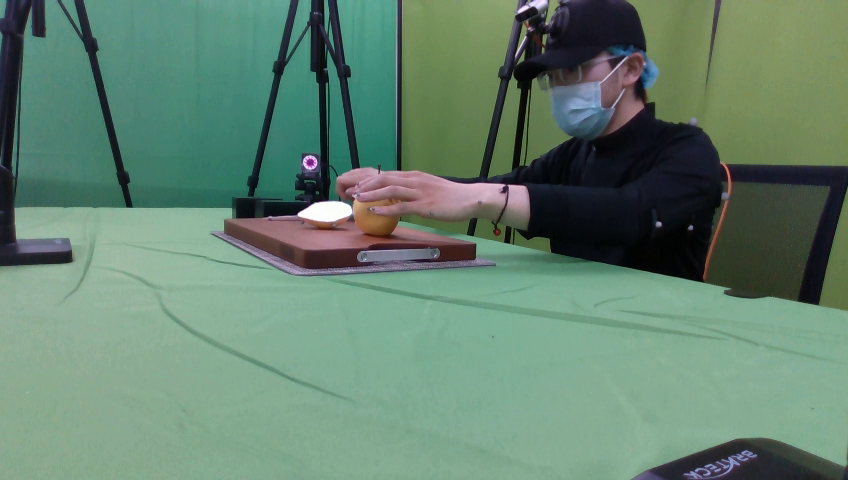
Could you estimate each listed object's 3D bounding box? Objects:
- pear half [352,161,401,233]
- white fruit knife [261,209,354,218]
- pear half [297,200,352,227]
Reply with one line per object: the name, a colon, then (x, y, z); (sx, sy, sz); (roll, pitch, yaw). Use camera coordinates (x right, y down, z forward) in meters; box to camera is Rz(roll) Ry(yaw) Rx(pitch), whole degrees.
pear half: (-0.066, -0.064, 0.921); (0.077, 0.110, 0.055); (-9, 17, -40)
white fruit knife: (-0.199, -0.047, 1.123); (0.208, 0.016, 0.027); (-3, -4, -31)
pear half: (-0.163, -0.038, 0.996); (0.088, 0.031, 0.070); (-13, 26, -15)
